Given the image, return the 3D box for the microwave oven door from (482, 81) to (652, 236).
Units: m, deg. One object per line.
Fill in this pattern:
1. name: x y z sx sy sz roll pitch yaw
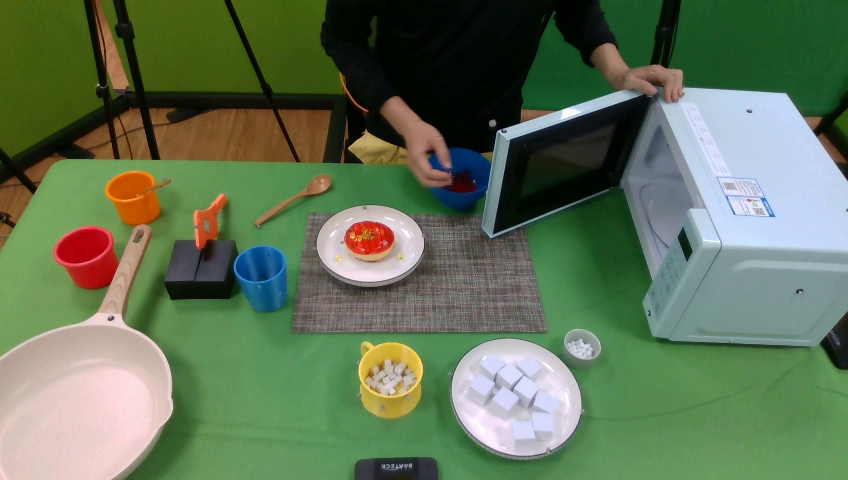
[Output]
1. microwave oven door: 0.281 -0.161 1.191 0.356 0.245 0.039 -22 51 -23

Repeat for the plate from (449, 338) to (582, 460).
1. plate: 0.141 0.251 0.955 0.208 0.039 0.206 2 46 -2

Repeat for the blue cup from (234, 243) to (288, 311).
1. blue cup: -0.276 0.072 1.052 0.093 0.101 0.092 1 48 -1

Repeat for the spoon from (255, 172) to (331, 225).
1. spoon: -0.272 -0.087 1.256 0.041 0.022 0.193 45 57 12

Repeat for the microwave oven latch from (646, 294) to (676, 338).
1. microwave oven latch: 0.412 0.133 1.060 0.030 0.029 0.078 3 46 1

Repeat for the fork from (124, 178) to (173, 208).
1. fork: -0.525 -0.090 1.154 0.207 0.019 0.028 -17 27 45

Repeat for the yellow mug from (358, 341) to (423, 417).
1. yellow mug: -0.063 0.210 0.961 0.100 0.064 0.130 -29 54 -27

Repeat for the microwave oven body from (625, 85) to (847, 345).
1. microwave oven body: 0.568 -0.054 1.116 0.326 0.261 0.439 2 46 -1

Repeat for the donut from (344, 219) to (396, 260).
1. donut: -0.103 -0.002 1.157 0.099 0.048 0.098 3 43 -2

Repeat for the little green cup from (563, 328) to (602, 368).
1. little green cup: 0.265 0.184 1.025 0.061 0.039 0.061 1 46 -1

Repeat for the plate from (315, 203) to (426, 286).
1. plate: -0.101 0.012 1.159 0.209 0.038 0.208 2 46 -2

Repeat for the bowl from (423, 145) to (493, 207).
1. bowl: 0.074 -0.123 1.278 0.151 0.077 0.150 2 47 -2

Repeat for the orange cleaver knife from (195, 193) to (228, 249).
1. orange cleaver knife: -0.406 -0.041 1.163 0.012 0.077 0.210 0 18 -3

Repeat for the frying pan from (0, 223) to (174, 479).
1. frying pan: -0.505 0.169 0.941 0.307 0.103 0.485 5 54 -1
